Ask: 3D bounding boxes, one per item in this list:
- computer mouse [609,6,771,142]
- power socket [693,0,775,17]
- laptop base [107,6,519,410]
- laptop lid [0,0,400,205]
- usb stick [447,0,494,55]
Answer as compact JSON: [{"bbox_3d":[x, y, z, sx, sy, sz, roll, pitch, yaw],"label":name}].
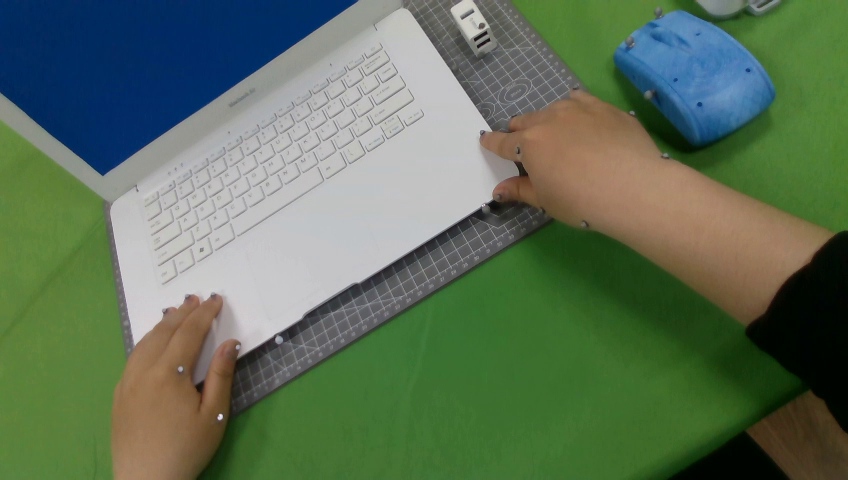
[{"bbox_3d":[0.184,-0.124,0.429,0.063,0.041,0.116,-33,52,9],"label":"computer mouse"},{"bbox_3d":[0.206,-0.264,0.490,0.072,0.033,0.224,-30,58,9],"label":"power socket"},{"bbox_3d":[-0.118,-0.038,0.531,0.354,0.023,0.233,-33,61,6],"label":"laptop base"},{"bbox_3d":[-0.219,-0.191,0.511,0.357,0.244,0.013,-34,44,7],"label":"laptop lid"},{"bbox_3d":[0.038,-0.191,0.529,0.021,0.027,0.058,-32,55,11],"label":"usb stick"}]
